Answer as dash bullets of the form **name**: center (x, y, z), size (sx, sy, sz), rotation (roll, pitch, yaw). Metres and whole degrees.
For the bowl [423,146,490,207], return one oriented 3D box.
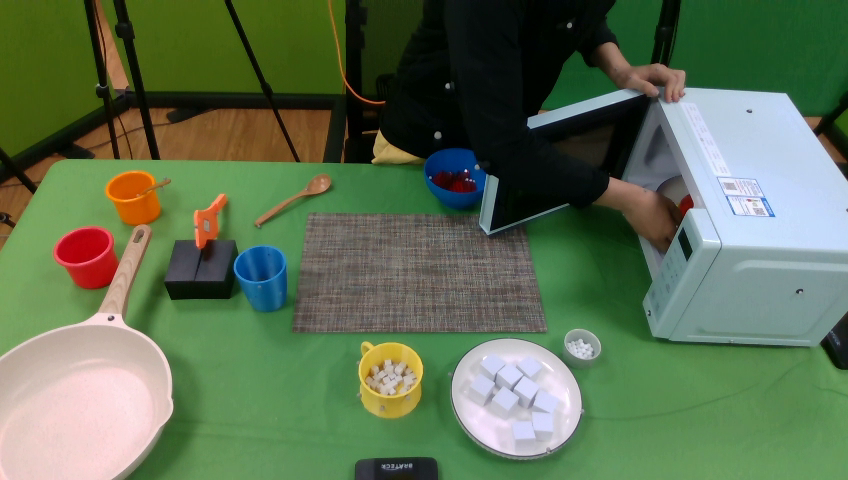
- **bowl**: center (0.073, -0.123, 1.278), size (0.151, 0.077, 0.150), rotation (2, 46, -2)

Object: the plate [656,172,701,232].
- **plate**: center (0.558, -0.055, 1.183), size (0.209, 0.038, 0.208), rotation (1, 44, -1)

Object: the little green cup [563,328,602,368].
- **little green cup**: center (0.266, 0.185, 1.025), size (0.061, 0.039, 0.061), rotation (3, 45, -3)

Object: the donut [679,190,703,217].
- **donut**: center (0.547, -0.060, 1.176), size (0.099, 0.048, 0.098), rotation (1, 44, -1)

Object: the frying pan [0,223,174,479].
- **frying pan**: center (-0.505, 0.169, 0.941), size (0.307, 0.103, 0.485), rotation (5, 54, -1)

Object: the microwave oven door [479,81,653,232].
- **microwave oven door**: center (0.279, -0.164, 1.193), size (0.356, 0.245, 0.039), rotation (-20, 51, -21)

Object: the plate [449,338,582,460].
- **plate**: center (0.141, 0.251, 0.955), size (0.208, 0.039, 0.206), rotation (2, 46, -2)

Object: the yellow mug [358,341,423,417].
- **yellow mug**: center (-0.062, 0.209, 0.961), size (0.100, 0.064, 0.130), rotation (-29, 54, -27)

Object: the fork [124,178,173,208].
- **fork**: center (-0.525, -0.090, 1.154), size (0.207, 0.019, 0.028), rotation (-17, 27, 45)

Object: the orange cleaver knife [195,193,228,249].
- **orange cleaver knife**: center (-0.406, -0.041, 1.163), size (0.012, 0.077, 0.210), rotation (-1, 18, -3)

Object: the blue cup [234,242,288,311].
- **blue cup**: center (-0.276, 0.071, 1.052), size (0.093, 0.101, 0.092), rotation (1, 48, -1)

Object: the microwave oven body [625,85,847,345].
- **microwave oven body**: center (0.568, -0.054, 1.116), size (0.326, 0.261, 0.439), rotation (2, 46, -1)

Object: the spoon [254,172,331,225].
- **spoon**: center (-0.272, -0.087, 1.257), size (0.041, 0.022, 0.193), rotation (46, 57, 12)

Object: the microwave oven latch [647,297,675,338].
- **microwave oven latch**: center (0.413, 0.133, 1.060), size (0.030, 0.029, 0.078), rotation (5, 46, 2)
